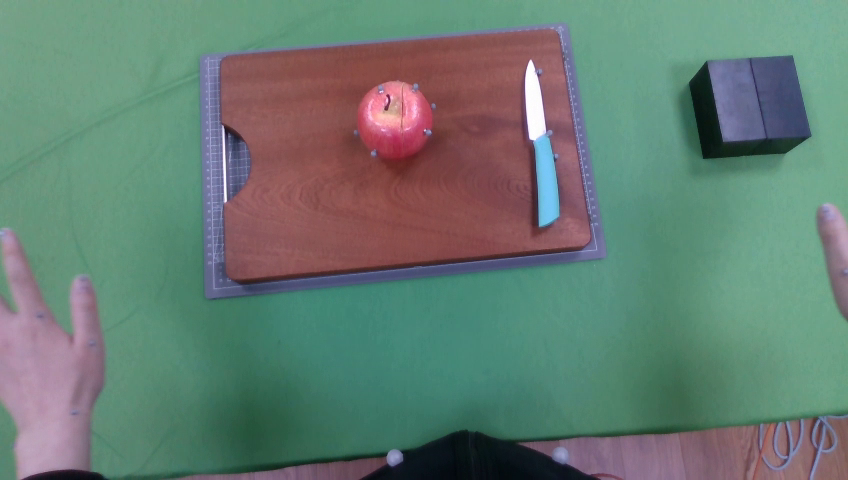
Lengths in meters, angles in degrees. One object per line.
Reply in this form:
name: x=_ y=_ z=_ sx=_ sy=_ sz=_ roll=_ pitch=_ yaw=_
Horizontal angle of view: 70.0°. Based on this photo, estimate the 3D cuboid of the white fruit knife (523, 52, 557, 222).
white fruit knife: x=0.129 y=-0.120 z=0.680 sx=0.027 sy=0.016 sz=0.206 roll=0 pitch=76 yaw=-14

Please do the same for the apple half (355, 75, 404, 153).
apple half: x=-0.047 y=-0.133 z=0.652 sx=0.053 sy=0.075 sz=0.080 roll=-2 pitch=80 yaw=4

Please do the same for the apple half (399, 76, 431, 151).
apple half: x=-0.008 y=-0.134 z=0.651 sx=0.033 sy=0.081 sz=0.081 roll=-1 pitch=77 yaw=2
